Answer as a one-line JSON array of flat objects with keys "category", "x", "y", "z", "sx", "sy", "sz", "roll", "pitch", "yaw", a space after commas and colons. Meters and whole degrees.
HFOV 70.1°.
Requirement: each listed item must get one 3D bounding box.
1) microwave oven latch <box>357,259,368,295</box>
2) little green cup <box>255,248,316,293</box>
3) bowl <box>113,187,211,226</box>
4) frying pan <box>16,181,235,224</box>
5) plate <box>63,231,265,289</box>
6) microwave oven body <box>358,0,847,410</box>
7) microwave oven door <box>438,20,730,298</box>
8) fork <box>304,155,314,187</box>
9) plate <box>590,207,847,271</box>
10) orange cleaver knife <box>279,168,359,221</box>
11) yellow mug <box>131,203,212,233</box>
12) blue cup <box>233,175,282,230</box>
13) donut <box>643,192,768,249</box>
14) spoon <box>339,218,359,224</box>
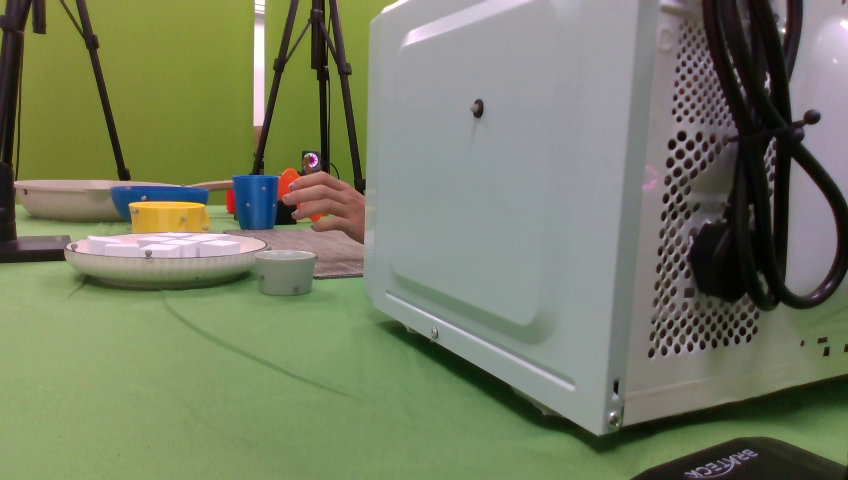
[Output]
[{"category": "microwave oven latch", "x": -0.019, "y": 0.031, "z": 0.529, "sx": 0.079, "sy": 0.029, "sz": 0.030, "roll": -1, "pitch": 7, "yaw": -27}, {"category": "little green cup", "x": -0.144, "y": 0.031, "z": 0.627, "sx": 0.061, "sy": 0.038, "sz": 0.061, "roll": 2, "pitch": 7, "yaw": 0}, {"category": "bowl", "x": -0.436, "y": -0.046, "z": 1.013, "sx": 0.151, "sy": 0.077, "sz": 0.151, "roll": 2, "pitch": 7, "yaw": 0}, {"category": "frying pan", "x": -0.553, "y": -0.097, "z": 1.266, "sx": 0.490, "sy": 0.102, "sz": 0.305, "roll": -10, "pitch": 13, "yaw": -24}, {"category": "plate", "x": -0.288, "y": 0.021, "z": 0.687, "sx": 0.208, "sy": 0.039, "sz": 0.207, "roll": 2, "pitch": 8, "yaw": 0}, {"category": "microwave oven body", "x": 0.210, "y": -0.051, "z": 0.471, "sx": 0.444, "sy": 0.260, "sz": 0.324, "roll": -1, "pitch": 7, "yaw": -28}, {"category": "microwave oven door", "x": 0.181, "y": -0.076, "z": 0.618, "sx": 0.358, "sy": 0.243, "sz": 0.039, "roll": -2, "pitch": 8, "yaw": -28}, {"category": "fork", "x": -0.268, "y": -0.134, "z": 1.446, "sx": 0.028, "sy": 0.018, "sz": 0.207, "roll": 1, "pitch": -36, "yaw": -1}, {"category": "plate", "x": 0.246, "y": -0.003, "z": 0.510, "sx": 0.209, "sy": 0.038, "sz": 0.209, "roll": 3, "pitch": 6, "yaw": 0}, {"category": "orange cleaver knife", "x": -0.236, "y": -0.084, "z": 1.333, "sx": 0.212, "sy": 0.077, "sz": 0.012, "roll": 31, "pitch": -9, "yaw": -31}, {"category": "yellow mug", "x": -0.356, "y": -0.020, "z": 0.878, "sx": 0.099, "sy": 0.064, "sz": 0.131, "roll": 4, "pitch": 7, "yaw": 22}, {"category": "blue cup", "x": -0.314, "y": -0.071, "z": 1.141, "sx": 0.093, "sy": 0.100, "sz": 0.092, "roll": 0, "pitch": 7, "yaw": 0}, {"category": "donut", "x": 0.239, "y": -0.016, "z": 0.518, "sx": 0.099, "sy": 0.048, "sz": 0.099, "roll": 2, "pitch": 5, "yaw": 0}, {"category": "spoon", "x": -0.087, "y": -0.041, "z": 1.268, "sx": 0.193, "sy": 0.021, "sz": 0.041, "roll": 3, "pitch": 20, "yaw": 13}]
